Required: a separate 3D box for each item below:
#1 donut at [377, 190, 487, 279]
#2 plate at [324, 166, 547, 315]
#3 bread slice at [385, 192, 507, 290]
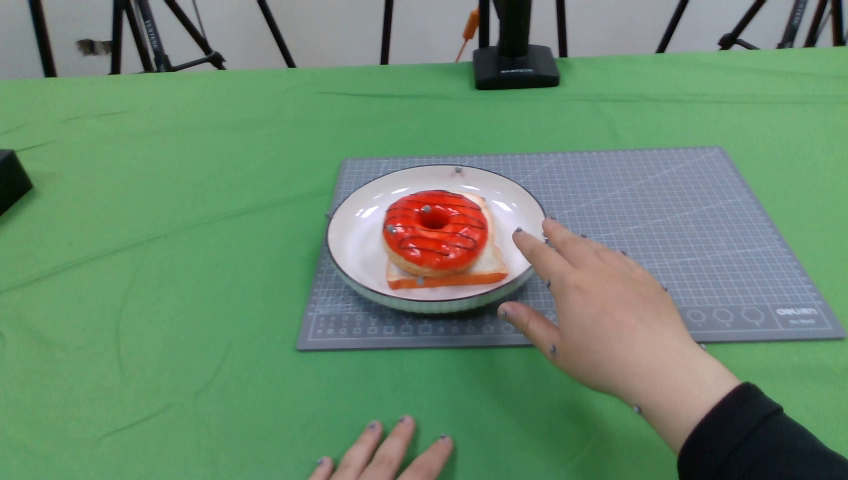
[{"bbox_3d":[0.007,-0.005,0.540,0.099,0.048,0.098,0,43,0],"label":"donut"},{"bbox_3d":[0.011,0.000,0.576,0.209,0.038,0.207,-1,39,2],"label":"plate"},{"bbox_3d":[0.013,-0.002,0.581,0.107,0.018,0.133,-5,40,-4],"label":"bread slice"}]
